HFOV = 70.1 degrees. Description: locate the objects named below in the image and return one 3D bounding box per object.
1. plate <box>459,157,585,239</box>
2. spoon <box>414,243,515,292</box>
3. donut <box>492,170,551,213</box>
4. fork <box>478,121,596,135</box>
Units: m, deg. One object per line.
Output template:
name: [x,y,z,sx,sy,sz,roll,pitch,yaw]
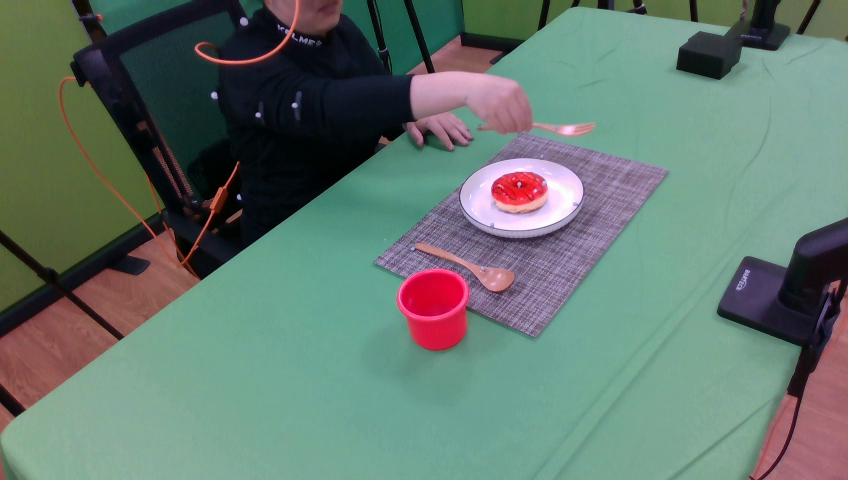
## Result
plate: [0.163,-0.068,1.015,0.209,0.038,0.208,-5,40,5]
spoon: [0.057,0.035,0.924,0.192,0.022,0.041,25,68,34]
donut: [0.163,-0.083,1.015,0.099,0.048,0.098,-6,37,5]
fork: [0.185,-0.190,1.014,0.206,0.019,0.028,8,56,26]
